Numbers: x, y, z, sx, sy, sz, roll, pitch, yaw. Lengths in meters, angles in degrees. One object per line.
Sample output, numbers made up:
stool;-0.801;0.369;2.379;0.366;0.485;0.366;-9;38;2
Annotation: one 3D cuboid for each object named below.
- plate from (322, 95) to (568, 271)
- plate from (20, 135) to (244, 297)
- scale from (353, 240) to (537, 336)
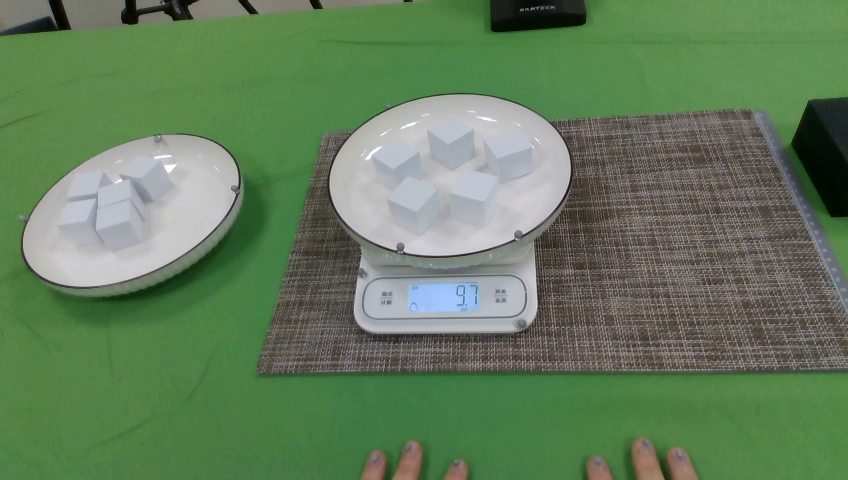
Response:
plate;0.018;-0.049;0.526;0.207;0.039;0.205;-3;48;4
plate;-0.276;-0.023;0.591;0.209;0.038;0.207;-4;47;5
scale;0.021;-0.006;0.531;0.148;0.032;0.199;-1;48;8
